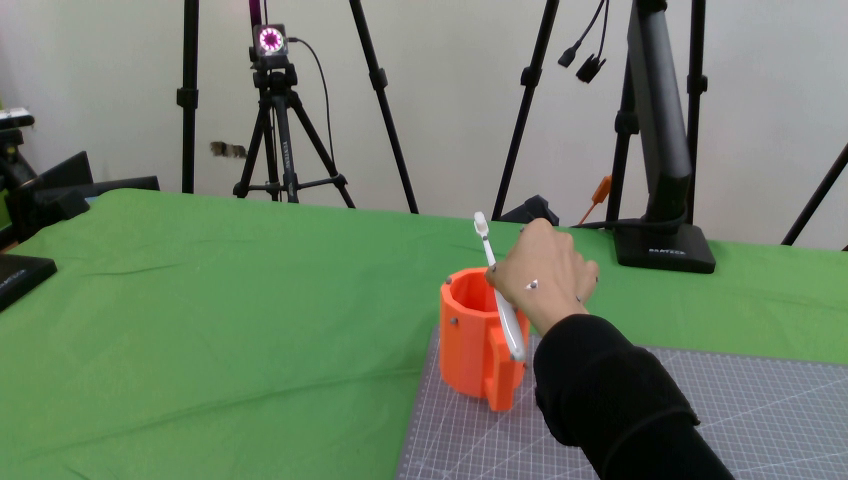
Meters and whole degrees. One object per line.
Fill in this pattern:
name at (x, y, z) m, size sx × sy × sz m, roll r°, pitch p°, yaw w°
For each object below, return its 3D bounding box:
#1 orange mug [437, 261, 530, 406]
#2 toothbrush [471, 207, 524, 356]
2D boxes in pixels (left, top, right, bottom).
orange mug at (0.058, 0.091, 0.574) m, size 0.083 × 0.101 × 0.125 m, roll -4°, pitch 26°, yaw -8°
toothbrush at (0.064, 0.030, 0.549) m, size 0.014 × 0.017 × 0.180 m, roll -9°, pitch 43°, yaw -1°
